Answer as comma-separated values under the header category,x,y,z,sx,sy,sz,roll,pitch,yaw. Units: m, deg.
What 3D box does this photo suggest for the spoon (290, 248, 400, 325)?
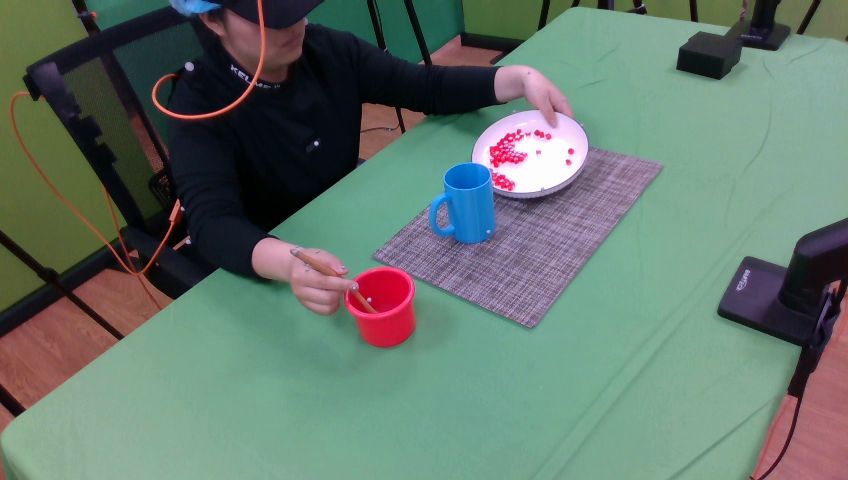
category,x,y,z,sx,sy,sz,roll,pitch,yaw
spoon,-0.103,0.064,0.810,0.021,0.195,0.041,-50,31,-5

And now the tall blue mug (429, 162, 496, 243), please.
category,x,y,z,sx,sy,sz,roll,pitch,yaw
tall blue mug,0.067,-0.051,0.960,0.077,0.108,0.107,18,47,28

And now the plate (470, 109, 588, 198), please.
category,x,y,z,sx,sy,sz,roll,pitch,yaw
plate,0.189,-0.152,1.087,0.207,0.039,0.206,-8,52,11
